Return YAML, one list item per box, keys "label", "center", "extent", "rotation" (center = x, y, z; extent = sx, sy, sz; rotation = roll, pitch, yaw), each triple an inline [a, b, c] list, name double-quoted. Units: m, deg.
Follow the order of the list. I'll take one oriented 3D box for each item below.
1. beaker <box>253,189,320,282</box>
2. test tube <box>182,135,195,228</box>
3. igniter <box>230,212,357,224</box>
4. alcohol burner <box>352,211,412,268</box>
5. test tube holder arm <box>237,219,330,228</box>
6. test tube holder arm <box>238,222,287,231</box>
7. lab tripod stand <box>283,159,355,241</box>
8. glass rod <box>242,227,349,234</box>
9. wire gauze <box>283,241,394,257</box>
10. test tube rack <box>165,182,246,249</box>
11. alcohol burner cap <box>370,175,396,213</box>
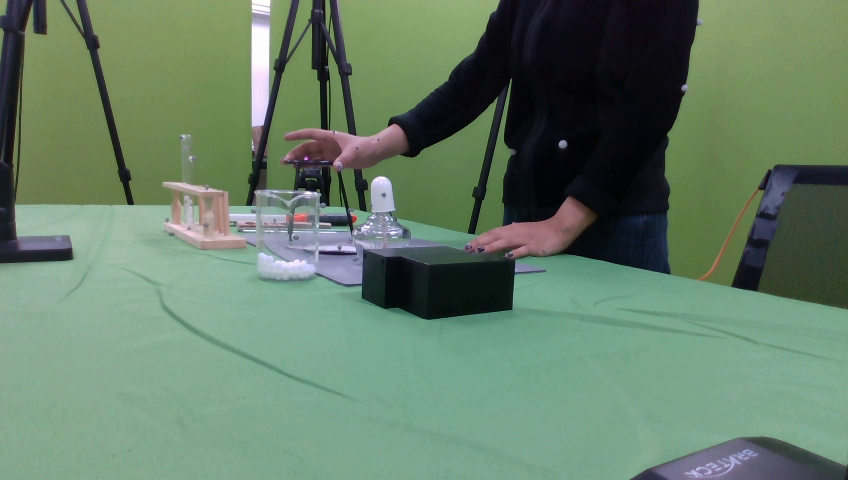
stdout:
- label: "beaker"
  center: [-0.156, -0.005, 0.689]
  extent: [0.074, 0.100, 0.083]
  rotation: [0, 8, -14]
- label: "test tube"
  center: [-0.382, -0.095, 0.983]
  extent: [0.017, 0.150, 0.017]
  rotation: [-1, 2, 0]
- label: "igniter"
  center: [-0.271, -0.044, 1.232]
  extent: [0.278, 0.025, 0.057]
  rotation: [-2, -2, -27]
- label: "alcohol burner"
  center: [-0.055, -0.024, 0.784]
  extent: [0.078, 0.119, 0.078]
  rotation: [2, 9, 0]
- label: "test tube holder arm"
  center: [-0.261, -0.031, 1.143]
  extent: [0.179, 0.015, 0.013]
  rotation: [-5, 49, -34]
- label: "test tube holder arm"
  center: [-0.297, -0.024, 1.114]
  extent: [0.088, 0.015, 0.010]
  rotation: [-3, 48, -33]
- label: "lab tripod stand"
  center: [-0.188, -0.070, 1.012]
  extent: [0.148, 0.131, 0.148]
  rotation: [2, 9, 0]
- label: "glass rod"
  center: [-0.232, -0.017, 1.110]
  extent: [0.201, 0.008, 0.008]
  rotation: [2, 6, -30]
- label: "wire gauze"
  center: [-0.127, 0.012, 0.894]
  extent: [0.126, 0.011, 0.121]
  rotation: [1, 6, -35]
- label: "test tube rack"
  center: [-0.360, -0.045, 0.982]
  extent: [0.067, 0.085, 0.241]
  rotation: [-3, 9, -34]
- label: "alcohol burner cap"
  center: [-0.055, -0.059, 0.778]
  extent: [0.034, 0.048, 0.034]
  rotation: [-7, 10, 2]
